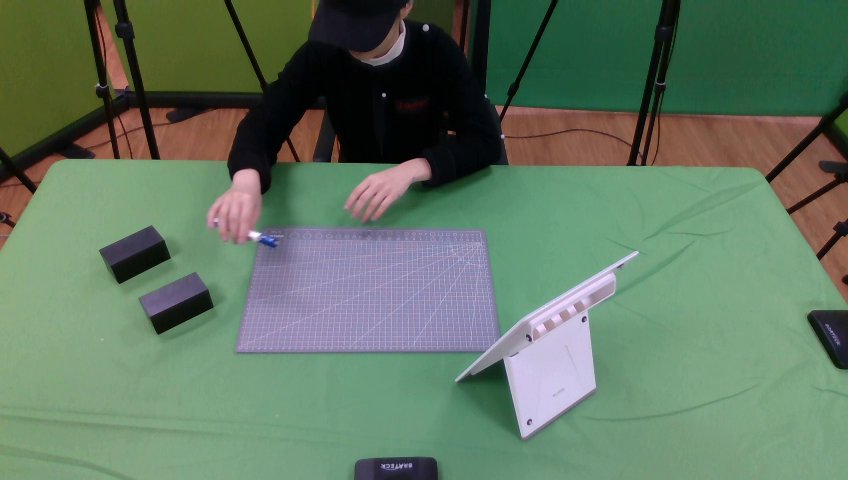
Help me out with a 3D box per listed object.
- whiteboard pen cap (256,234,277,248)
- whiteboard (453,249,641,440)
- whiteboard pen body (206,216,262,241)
[{"bbox_3d":[-0.269,0.000,1.035,0.033,0.018,0.018,19,48,20],"label":"whiteboard pen cap"},{"bbox_3d":[0.206,0.174,0.890,0.217,0.306,0.143,-25,72,-25],"label":"whiteboard"},{"bbox_3d":[-0.321,-0.017,1.054,0.140,0.017,0.017,17,48,19],"label":"whiteboard pen body"}]
